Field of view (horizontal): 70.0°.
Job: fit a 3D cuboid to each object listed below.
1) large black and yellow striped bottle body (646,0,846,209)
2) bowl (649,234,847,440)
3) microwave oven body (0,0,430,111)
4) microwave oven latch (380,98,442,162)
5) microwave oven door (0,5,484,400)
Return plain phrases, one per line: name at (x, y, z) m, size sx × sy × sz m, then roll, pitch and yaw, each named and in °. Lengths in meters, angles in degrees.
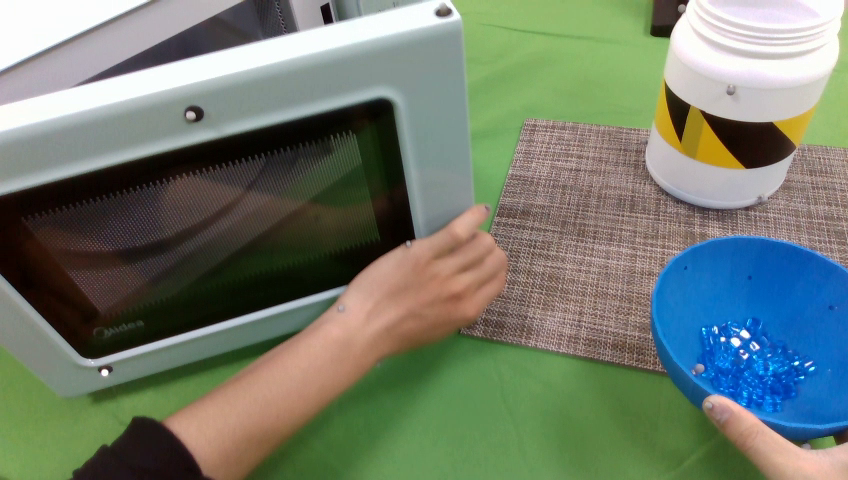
large black and yellow striped bottle body at (0.280, -0.134, 0.543) m, size 0.131 × 0.186 × 0.129 m, roll -4°, pitch 48°, yaw 4°
bowl at (0.227, 0.076, 0.416) m, size 0.151 × 0.077 × 0.150 m, roll -3°, pitch 48°, yaw 4°
microwave oven body at (-0.253, -0.149, 0.577) m, size 0.323 × 0.263 × 0.441 m, roll 34°, pitch 61°, yaw 31°
microwave oven latch at (-0.015, -0.118, 0.649) m, size 0.079 × 0.030 × 0.030 m, roll -39°, pitch 55°, yaw -24°
microwave oven door at (-0.135, -0.009, 0.427) m, size 0.356 × 0.246 × 0.039 m, roll -16°, pitch 48°, yaw -7°
